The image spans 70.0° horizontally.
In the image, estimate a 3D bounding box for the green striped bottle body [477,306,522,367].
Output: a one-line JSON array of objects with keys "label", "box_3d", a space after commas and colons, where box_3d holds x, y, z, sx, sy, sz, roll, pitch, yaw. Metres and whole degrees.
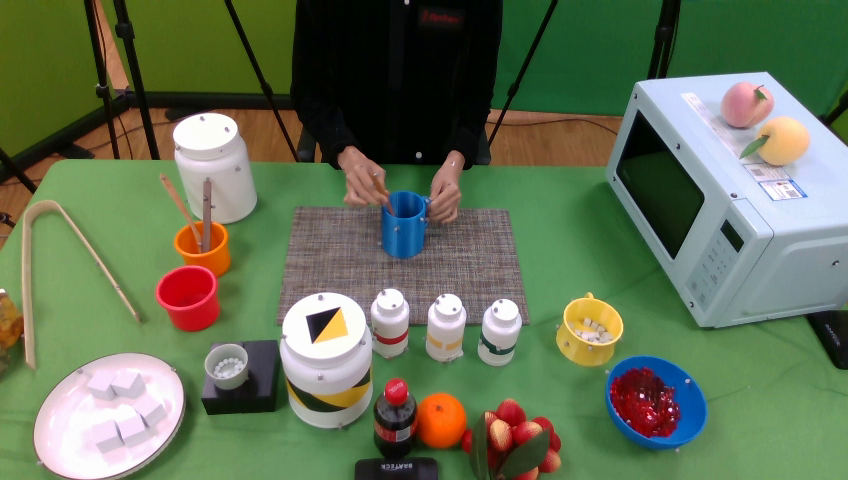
[{"label": "green striped bottle body", "box_3d": [0.124, 0.151, 0.995, 0.063, 0.120, 0.063, 2, 46, -2]}]

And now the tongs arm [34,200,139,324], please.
[{"label": "tongs arm", "box_3d": [-0.622, 0.034, 1.105, 0.051, 0.026, 0.382, -32, 55, -26]}]

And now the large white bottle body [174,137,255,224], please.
[{"label": "large white bottle body", "box_3d": [-0.408, -0.136, 1.183, 0.131, 0.185, 0.130, 2, 46, -2]}]

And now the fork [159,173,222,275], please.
[{"label": "fork", "box_3d": [-0.427, -0.029, 1.103, 0.028, 0.018, 0.207, -31, 99, -30]}]

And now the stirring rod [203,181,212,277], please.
[{"label": "stirring rod", "box_3d": [-0.396, -0.021, 1.108, 0.014, 0.006, 0.176, -1, 89, -1]}]

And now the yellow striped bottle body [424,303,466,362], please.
[{"label": "yellow striped bottle body", "box_3d": [0.035, 0.143, 0.995, 0.063, 0.121, 0.062, 3, 46, -3]}]

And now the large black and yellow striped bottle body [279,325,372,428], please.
[{"label": "large black and yellow striped bottle body", "box_3d": [-0.143, 0.181, 0.900, 0.131, 0.185, 0.130, 2, 46, -2]}]

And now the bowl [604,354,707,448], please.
[{"label": "bowl", "box_3d": [0.346, 0.261, 0.937, 0.151, 0.077, 0.150, 2, 46, -2]}]

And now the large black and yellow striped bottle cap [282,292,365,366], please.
[{"label": "large black and yellow striped bottle cap", "box_3d": [-0.138, 0.121, 0.841, 0.115, 0.019, 0.114, 3, 47, -3]}]

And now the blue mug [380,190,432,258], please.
[{"label": "blue mug", "box_3d": [-0.030, -0.037, 1.169, 0.116, 0.106, 0.082, -29, 55, -29]}]

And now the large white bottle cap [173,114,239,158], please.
[{"label": "large white bottle cap", "box_3d": [-0.403, -0.195, 1.122, 0.115, 0.018, 0.114, 2, 47, -2]}]

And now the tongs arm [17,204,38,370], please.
[{"label": "tongs arm", "box_3d": [-0.698, 0.069, 1.068, 0.028, 0.028, 0.385, -20, 50, -13]}]

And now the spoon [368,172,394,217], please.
[{"label": "spoon", "box_3d": [-0.069, -0.059, 1.105, 0.041, 0.195, 0.021, 18, 59, 29]}]

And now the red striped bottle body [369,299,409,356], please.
[{"label": "red striped bottle body", "box_3d": [-0.058, 0.134, 0.997, 0.063, 0.120, 0.062, 4, 47, -4]}]

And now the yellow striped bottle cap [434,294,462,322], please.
[{"label": "yellow striped bottle cap", "box_3d": [0.037, 0.107, 0.958, 0.044, 0.019, 0.044, 2, 45, -2]}]

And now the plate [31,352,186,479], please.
[{"label": "plate", "box_3d": [-0.459, 0.262, 0.898, 0.209, 0.038, 0.208, 2, 46, -2]}]

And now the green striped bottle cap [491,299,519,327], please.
[{"label": "green striped bottle cap", "box_3d": [0.128, 0.115, 0.958, 0.044, 0.020, 0.044, 1, 46, -1]}]

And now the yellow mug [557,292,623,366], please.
[{"label": "yellow mug", "box_3d": [0.285, 0.145, 1.051, 0.100, 0.064, 0.130, 7, 45, 4]}]

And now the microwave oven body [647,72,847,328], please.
[{"label": "microwave oven body", "box_3d": [0.607, -0.089, 1.164, 0.326, 0.261, 0.438, -7, 46, -10]}]

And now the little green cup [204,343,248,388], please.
[{"label": "little green cup", "box_3d": [-0.294, 0.190, 0.909, 0.061, 0.039, 0.061, 1, 48, 0]}]

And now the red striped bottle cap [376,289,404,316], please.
[{"label": "red striped bottle cap", "box_3d": [-0.055, 0.098, 0.959, 0.044, 0.018, 0.044, 0, 48, 0]}]

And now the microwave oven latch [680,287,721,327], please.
[{"label": "microwave oven latch", "box_3d": [0.494, 0.120, 1.087, 0.030, 0.029, 0.078, -7, 46, -10]}]

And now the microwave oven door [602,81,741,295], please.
[{"label": "microwave oven door", "box_3d": [0.456, -0.107, 1.162, 0.039, 0.245, 0.353, -6, 47, -11]}]
